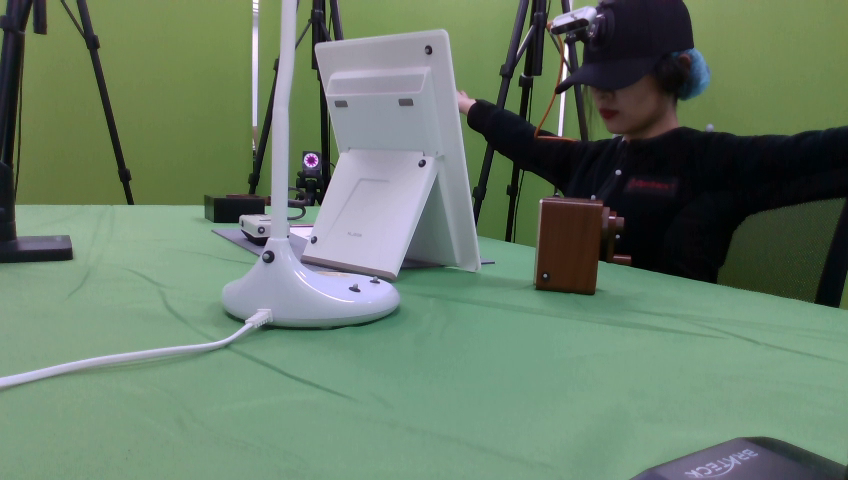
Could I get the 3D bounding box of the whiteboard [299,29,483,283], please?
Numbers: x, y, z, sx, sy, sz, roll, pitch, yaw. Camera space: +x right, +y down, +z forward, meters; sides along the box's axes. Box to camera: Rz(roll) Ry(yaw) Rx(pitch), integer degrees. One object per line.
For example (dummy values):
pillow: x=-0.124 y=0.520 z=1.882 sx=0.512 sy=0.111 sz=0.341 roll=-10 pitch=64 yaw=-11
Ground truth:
whiteboard: x=-0.074 y=-0.082 z=0.742 sx=0.216 sy=0.305 sz=0.144 roll=9 pitch=30 yaw=38

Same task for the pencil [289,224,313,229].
pencil: x=-0.221 y=-0.029 z=1.211 sx=0.195 sy=0.012 sz=0.012 roll=-5 pitch=10 yaw=-34

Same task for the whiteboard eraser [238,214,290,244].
whiteboard eraser: x=-0.253 y=-0.017 z=0.955 sx=0.056 sy=0.042 sz=0.112 roll=-1 pitch=8 yaw=-29

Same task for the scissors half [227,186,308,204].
scissors half: x=-0.336 y=-0.096 z=1.305 sx=0.176 sy=0.040 sz=0.013 roll=-3 pitch=16 yaw=-29

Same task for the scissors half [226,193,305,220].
scissors half: x=-0.341 y=-0.077 z=1.310 sx=0.176 sy=0.040 sz=0.012 roll=17 pitch=11 yaw=-33

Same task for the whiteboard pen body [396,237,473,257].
whiteboard pen body: x=0.014 y=0.012 z=0.886 sx=0.140 sy=0.017 sz=0.017 roll=10 pitch=10 yaw=38

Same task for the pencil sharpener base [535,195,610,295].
pencil sharpener base: x=0.172 y=0.005 z=0.695 sx=0.076 sy=0.107 sz=0.061 roll=5 pitch=7 yaw=16

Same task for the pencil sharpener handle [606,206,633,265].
pencil sharpener handle: x=0.222 y=-0.004 z=0.683 sx=0.030 sy=0.068 sz=0.036 roll=5 pitch=20 yaw=16

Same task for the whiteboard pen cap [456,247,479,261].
whiteboard pen cap: x=0.060 y=0.020 z=0.851 sx=0.033 sy=0.018 sz=0.018 roll=10 pitch=10 yaw=37

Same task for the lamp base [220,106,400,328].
lamp base: x=-0.101 y=-0.023 z=0.531 sx=0.160 sy=0.180 sz=0.179 roll=4 pitch=10 yaw=10
